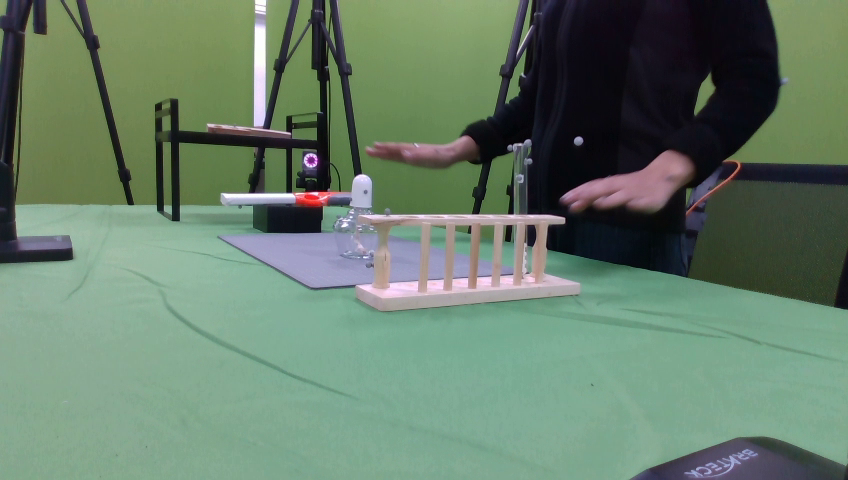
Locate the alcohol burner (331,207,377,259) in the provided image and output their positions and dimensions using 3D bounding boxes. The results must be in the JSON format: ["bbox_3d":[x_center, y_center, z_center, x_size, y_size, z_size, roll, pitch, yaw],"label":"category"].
[{"bbox_3d":[-0.091,-0.033,0.855,0.078,0.119,0.078,4,7,0],"label":"alcohol burner"}]

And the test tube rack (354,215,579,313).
[{"bbox_3d":[0.053,0.019,0.635,0.243,0.085,0.066,-1,8,-29],"label":"test tube rack"}]

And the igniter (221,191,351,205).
[{"bbox_3d":[-0.239,-0.078,1.149,0.278,0.025,0.057,-3,20,-31],"label":"igniter"}]

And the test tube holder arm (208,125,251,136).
[{"bbox_3d":[-0.418,-0.234,1.299,0.088,0.015,0.010,1,41,-31],"label":"test tube holder arm"}]

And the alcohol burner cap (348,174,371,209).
[{"bbox_3d":[-0.089,-0.068,0.849,0.034,0.048,0.034,3,10,0],"label":"alcohol burner cap"}]

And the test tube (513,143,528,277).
[{"bbox_3d":[0.108,-0.033,0.677,0.017,0.150,0.017,-1,8,1],"label":"test tube"}]

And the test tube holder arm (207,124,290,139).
[{"bbox_3d":[-0.381,-0.237,1.327,0.179,0.015,0.013,0,42,-32],"label":"test tube holder arm"}]
